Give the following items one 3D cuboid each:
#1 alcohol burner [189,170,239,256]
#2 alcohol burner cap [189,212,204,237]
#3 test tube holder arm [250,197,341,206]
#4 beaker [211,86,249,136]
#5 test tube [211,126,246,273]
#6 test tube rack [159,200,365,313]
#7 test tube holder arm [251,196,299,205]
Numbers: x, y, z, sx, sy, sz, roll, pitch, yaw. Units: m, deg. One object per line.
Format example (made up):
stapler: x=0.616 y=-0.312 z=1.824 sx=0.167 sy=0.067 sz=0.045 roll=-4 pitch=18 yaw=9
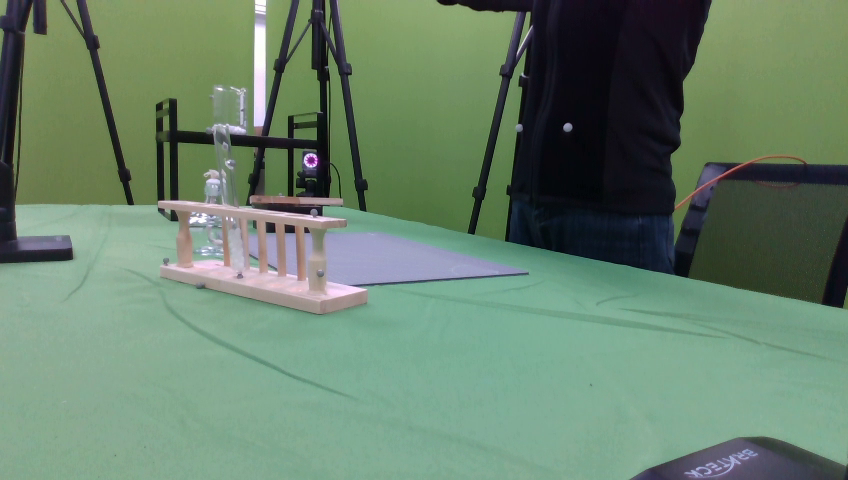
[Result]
alcohol burner: x=-0.296 y=-0.038 z=0.851 sx=0.078 sy=0.119 sz=0.078 roll=2 pitch=5 yaw=0
alcohol burner cap: x=-0.389 y=-0.029 z=1.026 sx=0.034 sy=0.048 sz=0.034 roll=2 pitch=9 yaw=0
test tube holder arm: x=-0.241 y=-0.074 z=1.150 sx=0.179 sy=0.015 sz=0.013 roll=-1 pitch=6 yaw=-35
beaker: x=-0.413 y=-0.274 z=1.297 sx=0.074 sy=0.100 sz=0.083 roll=-5 pitch=11 yaw=-44
test tube: x=-0.198 y=-0.040 z=0.614 sx=0.017 sy=0.150 sz=0.017 roll=-5 pitch=7 yaw=1
test tube rack: x=-0.173 y=0.009 z=0.624 sx=0.241 sy=0.085 sz=0.067 roll=7 pitch=9 yaw=34
test tube holder arm: x=-0.275 y=-0.073 z=1.120 sx=0.088 sy=0.015 sz=0.010 roll=-1 pitch=6 yaw=-34
